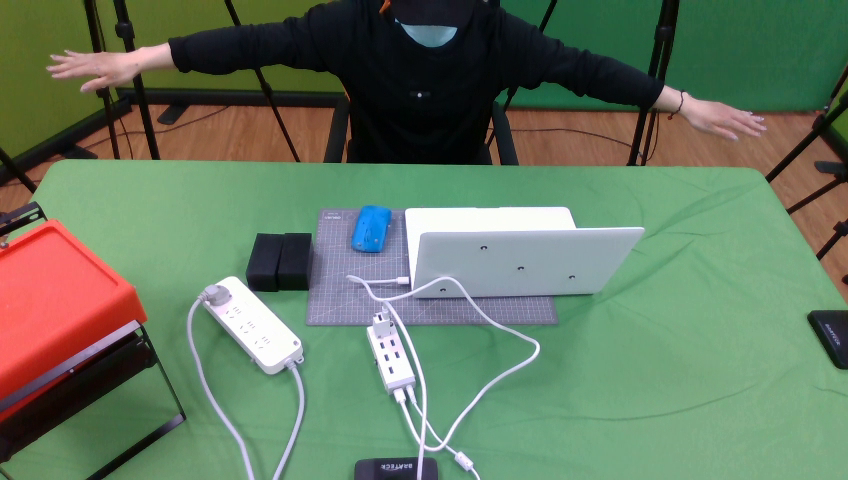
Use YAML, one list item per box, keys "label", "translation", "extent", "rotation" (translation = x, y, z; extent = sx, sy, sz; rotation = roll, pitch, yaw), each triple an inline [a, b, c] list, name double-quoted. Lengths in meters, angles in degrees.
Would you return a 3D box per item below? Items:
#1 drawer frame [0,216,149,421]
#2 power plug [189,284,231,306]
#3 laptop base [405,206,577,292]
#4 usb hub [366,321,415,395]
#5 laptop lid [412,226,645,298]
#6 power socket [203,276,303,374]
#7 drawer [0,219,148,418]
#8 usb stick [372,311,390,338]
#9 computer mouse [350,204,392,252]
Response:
- label: "drawer frame"
  translation: [-0.510, 0.093, 0.780]
  extent: [0.201, 0.083, 0.213]
  rotation: [31, 52, 23]
- label: "power plug"
  translation: [-0.367, 0.100, 1.037]
  extent: [0.072, 0.053, 0.035]
  rotation: [-24, 53, -26]
- label: "laptop base"
  translation: [0.143, 0.018, 1.196]
  extent: [0.355, 0.023, 0.234]
  rotation: [-1, 43, -6]
- label: "usb hub"
  translation: [-0.056, 0.194, 1.007]
  extent: [0.049, 0.025, 0.124]
  rotation: [-13, 49, -15]
- label: "laptop lid"
  translation: [0.161, 0.042, 1.012]
  extent: [0.357, 0.242, 0.013]
  rotation: [0, 59, -7]
- label: "power socket"
  translation: [-0.296, 0.141, 1.034]
  extent: [0.072, 0.033, 0.225]
  rotation: [-35, 58, -30]
- label: "drawer"
  translation: [-0.509, 0.093, 0.783]
  extent: [0.193, 0.073, 0.211]
  rotation: [32, 53, 24]
- label: "usb stick"
  translation: [-0.072, 0.145, 1.012]
  extent: [0.027, 0.059, 0.021]
  rotation: [-13, 50, -18]
- label: "computer mouse"
  translation: [-0.104, -0.027, 1.202]
  extent: [0.063, 0.041, 0.116]
  rotation: [11, 51, 4]
